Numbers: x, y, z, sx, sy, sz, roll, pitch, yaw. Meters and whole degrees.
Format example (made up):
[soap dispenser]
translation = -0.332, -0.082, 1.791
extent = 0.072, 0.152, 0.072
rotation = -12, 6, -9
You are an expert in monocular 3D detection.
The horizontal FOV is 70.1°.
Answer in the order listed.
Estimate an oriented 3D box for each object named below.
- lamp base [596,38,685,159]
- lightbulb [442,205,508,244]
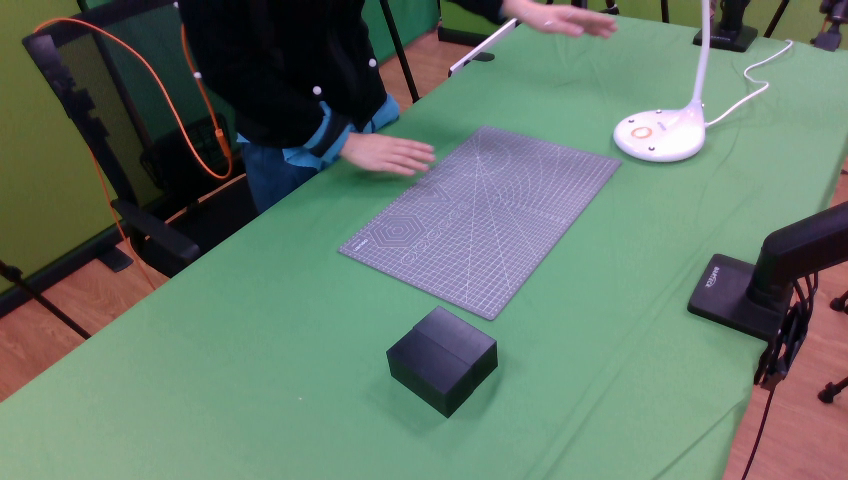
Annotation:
[lamp base]
translation = 0.408, -0.264, 1.094
extent = 0.180, 0.181, 0.159
rotation = -29, 45, -27
[lightbulb]
translation = 0.081, -0.019, 0.955
extent = 0.107, 0.059, 0.059
rotation = 18, 44, 5
